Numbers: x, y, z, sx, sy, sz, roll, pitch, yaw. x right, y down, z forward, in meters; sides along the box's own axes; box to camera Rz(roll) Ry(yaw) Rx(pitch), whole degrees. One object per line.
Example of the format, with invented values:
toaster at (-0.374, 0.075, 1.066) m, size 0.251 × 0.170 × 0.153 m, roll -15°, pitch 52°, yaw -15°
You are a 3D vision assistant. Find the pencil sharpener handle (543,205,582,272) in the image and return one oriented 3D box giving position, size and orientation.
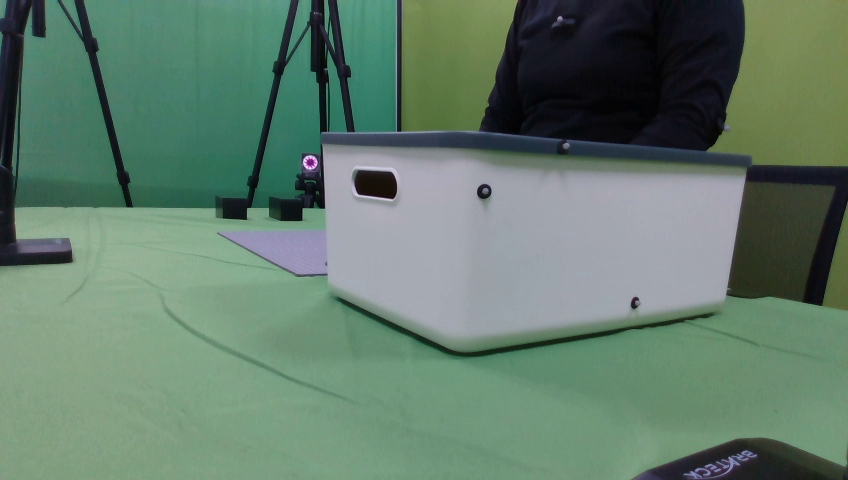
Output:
pencil sharpener handle at (0.146, -0.001, 0.618) m, size 0.031 × 0.067 × 0.036 m, roll 0°, pitch -3°, yaw -36°

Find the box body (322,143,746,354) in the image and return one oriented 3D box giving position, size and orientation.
box body at (0.106, -0.011, 0.603) m, size 0.366 × 0.160 × 0.253 m, roll -2°, pitch 8°, yaw -34°

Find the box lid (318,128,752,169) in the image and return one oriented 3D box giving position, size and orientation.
box lid at (0.107, -0.085, 0.594) m, size 0.373 × 0.015 × 0.262 m, roll -1°, pitch 8°, yaw -34°

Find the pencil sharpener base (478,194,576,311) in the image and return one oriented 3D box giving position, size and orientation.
pencil sharpener base at (0.102, 0.011, 0.591) m, size 0.077 × 0.107 × 0.061 m, roll 0°, pitch 6°, yaw -36°
